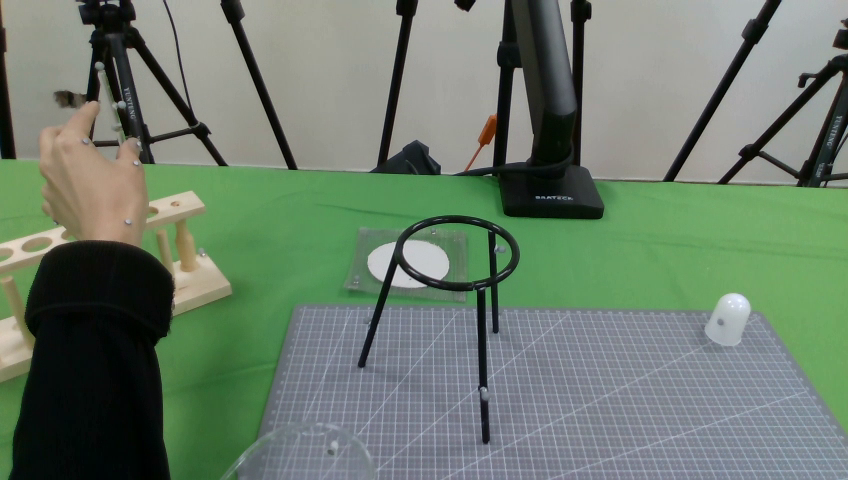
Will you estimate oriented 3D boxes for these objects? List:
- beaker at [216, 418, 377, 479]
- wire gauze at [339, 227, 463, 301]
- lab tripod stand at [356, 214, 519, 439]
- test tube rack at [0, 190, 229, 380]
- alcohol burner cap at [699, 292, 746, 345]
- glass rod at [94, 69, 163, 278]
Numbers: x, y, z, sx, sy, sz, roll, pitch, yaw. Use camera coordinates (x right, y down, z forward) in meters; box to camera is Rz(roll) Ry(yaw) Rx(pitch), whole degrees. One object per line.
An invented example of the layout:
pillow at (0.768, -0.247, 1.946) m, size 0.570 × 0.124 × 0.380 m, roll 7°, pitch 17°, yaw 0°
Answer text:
beaker at (-0.067, 0.162, 0.338) m, size 0.084 × 0.101 × 0.073 m, roll -1°, pitch 34°, yaw -3°
wire gauze at (-0.021, 0.020, 0.637) m, size 0.125 × 0.011 × 0.120 m, roll 3°, pitch 33°, yaw 2°
lab tripod stand at (0.016, 0.058, 0.466) m, size 0.148 × 0.132 × 0.147 m, roll 1°, pitch 36°, yaw 0°
test tube rack at (-0.302, 0.040, 0.519) m, size 0.243 × 0.086 × 0.066 m, roll -22°, pitch 41°, yaw -31°
alcohol burner cap at (0.272, 0.068, 0.549) m, size 0.034 × 0.048 × 0.033 m, roll 2°, pitch 34°, yaw -1°
glass rod at (-0.258, -0.051, 0.539) m, size 0.008 × 0.201 × 0.008 m, roll -3°, pitch 29°, yaw 2°
